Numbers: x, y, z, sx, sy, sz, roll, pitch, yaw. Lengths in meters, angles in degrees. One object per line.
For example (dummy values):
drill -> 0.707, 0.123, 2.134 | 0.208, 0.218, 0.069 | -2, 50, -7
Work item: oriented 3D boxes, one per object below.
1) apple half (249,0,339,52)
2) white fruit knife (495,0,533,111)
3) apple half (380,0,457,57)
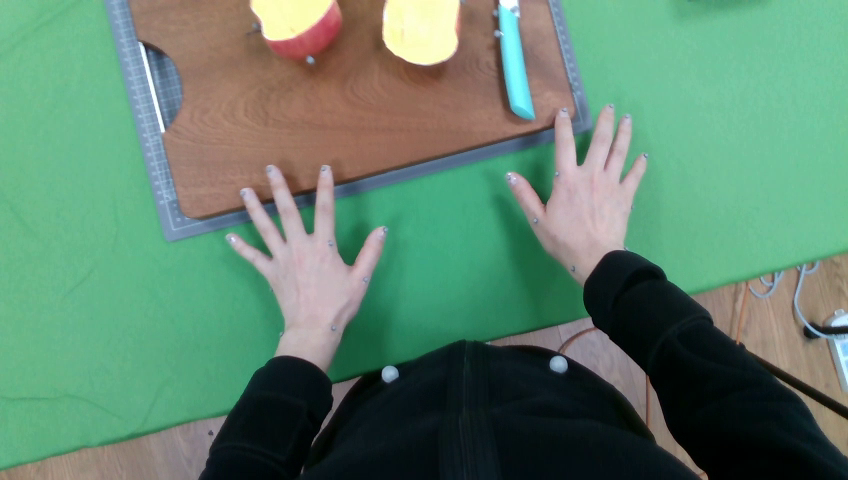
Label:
apple half -> -0.117, -0.211, 0.565 | 0.074, 0.054, 0.080 | -33, 66, 0
white fruit knife -> 0.080, -0.228, 0.593 | 0.027, 0.016, 0.207 | -7, 88, -30
apple half -> -0.004, -0.214, 0.581 | 0.081, 0.033, 0.081 | 2, 100, 10
